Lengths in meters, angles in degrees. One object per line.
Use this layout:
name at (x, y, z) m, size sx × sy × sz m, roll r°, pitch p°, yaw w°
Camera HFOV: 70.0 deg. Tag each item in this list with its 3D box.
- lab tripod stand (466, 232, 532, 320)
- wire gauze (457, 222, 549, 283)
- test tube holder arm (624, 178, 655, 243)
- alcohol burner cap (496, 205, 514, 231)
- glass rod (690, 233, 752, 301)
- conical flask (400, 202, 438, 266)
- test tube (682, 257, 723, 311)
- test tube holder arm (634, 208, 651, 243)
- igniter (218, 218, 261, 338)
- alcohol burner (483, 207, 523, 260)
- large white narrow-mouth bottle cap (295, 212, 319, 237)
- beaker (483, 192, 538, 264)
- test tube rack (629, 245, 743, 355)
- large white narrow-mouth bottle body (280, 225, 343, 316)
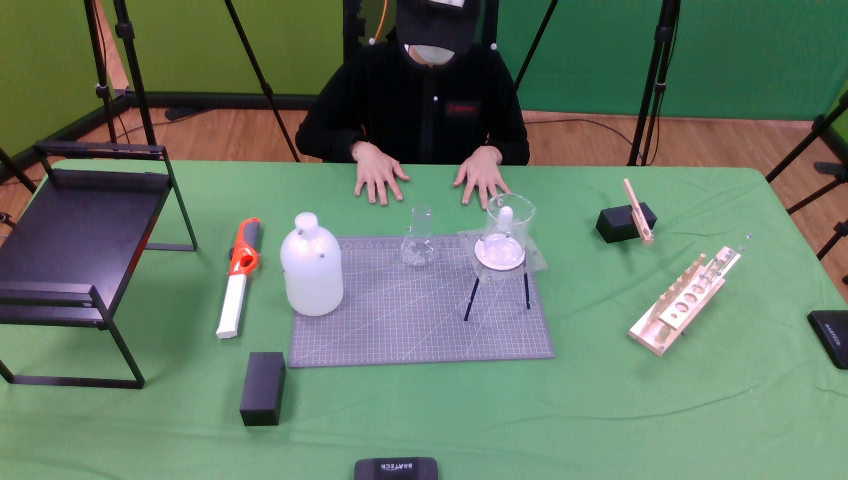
lab tripod stand at (0.125, 0.060, 1.065) m, size 0.148 × 0.132 × 0.147 m, roll 1°, pitch 45°, yaw 0°
wire gauze at (0.131, 0.016, 1.017) m, size 0.121 × 0.011 × 0.124 m, roll -10°, pitch 44°, yaw -16°
test tube holder arm at (0.433, -0.062, 1.220) m, size 0.013 × 0.015 × 0.177 m, roll 1°, pitch 47°, yaw -3°
alcohol burner cap at (0.153, -0.045, 1.131) m, size 0.034 × 0.048 × 0.033 m, roll 2°, pitch 40°, yaw -1°
glass rod at (0.507, 0.053, 1.041) m, size 0.008 × 0.200 × 0.008 m, roll 5°, pitch 50°, yaw -6°
conical flask at (-0.007, -0.014, 1.135) m, size 0.075 × 0.122 × 0.075 m, roll 2°, pitch 46°, yaw -2°
test tube at (0.474, 0.080, 1.037) m, size 0.017 × 0.151 × 0.017 m, roll 1°, pitch 50°, yaw -1°
test tube holder arm at (0.428, -0.030, 1.189) m, size 0.010 × 0.015 × 0.087 m, roll 1°, pitch 47°, yaw -2°
igniter at (-0.337, 0.060, 1.111) m, size 0.057 × 0.025 × 0.274 m, roll -7°, pitch 46°, yaw 4°
alcohol burner at (0.152, -0.018, 1.156) m, size 0.078 × 0.120 × 0.077 m, roll 0°, pitch 47°, yaw 0°
large white narrow-mouth bottle cap at (-0.185, -0.025, 0.960) m, size 0.038 × 0.024 × 0.037 m, roll 2°, pitch 46°, yaw -2°
beaker at (0.136, -0.017, 0.980) m, size 0.084 × 0.101 × 0.073 m, roll -6°, pitch 45°, yaw -9°
test tube rack at (0.474, 0.095, 1.091) m, size 0.242 × 0.085 × 0.066 m, roll -34°, pitch 56°, yaw -31°
large white narrow-mouth bottle body at (-0.191, 0.035, 1.024) m, size 0.102 × 0.195 × 0.101 m, roll 2°, pitch 46°, yaw -2°
